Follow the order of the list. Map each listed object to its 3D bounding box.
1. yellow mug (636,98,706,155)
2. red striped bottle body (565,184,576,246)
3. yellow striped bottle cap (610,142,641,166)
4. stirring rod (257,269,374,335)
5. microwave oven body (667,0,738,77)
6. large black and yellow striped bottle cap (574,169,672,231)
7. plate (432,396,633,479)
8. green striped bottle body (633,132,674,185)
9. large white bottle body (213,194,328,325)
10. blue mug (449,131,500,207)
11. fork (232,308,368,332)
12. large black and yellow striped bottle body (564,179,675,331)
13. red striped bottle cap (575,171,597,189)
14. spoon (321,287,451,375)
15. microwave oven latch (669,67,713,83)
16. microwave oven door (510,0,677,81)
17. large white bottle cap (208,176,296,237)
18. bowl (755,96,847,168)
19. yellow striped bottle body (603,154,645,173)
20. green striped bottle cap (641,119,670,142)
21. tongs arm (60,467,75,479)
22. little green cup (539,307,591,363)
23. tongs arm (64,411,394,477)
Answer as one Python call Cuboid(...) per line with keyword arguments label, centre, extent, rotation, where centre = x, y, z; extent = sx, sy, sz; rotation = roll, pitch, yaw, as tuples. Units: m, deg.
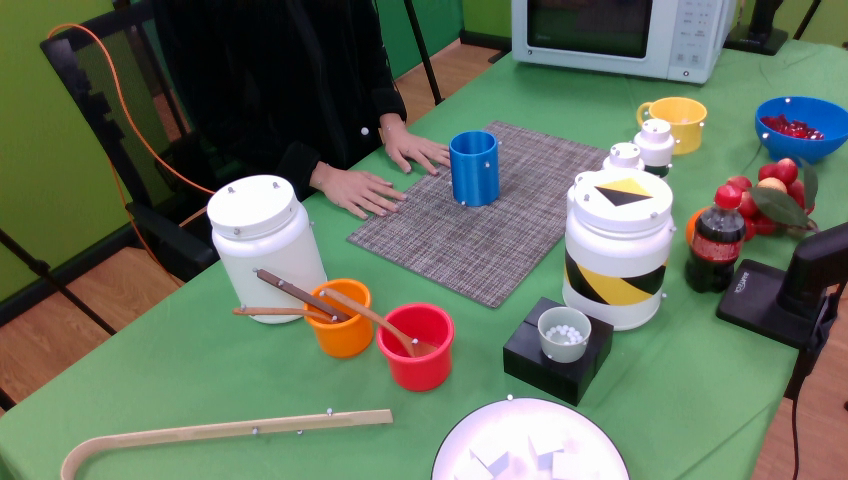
Cuboid(label="yellow mug", centre=(0.453, -0.217, 1.128), extent=(0.100, 0.064, 0.129), rotation=(-34, 46, -27))
Cuboid(label="red striped bottle body", centre=(0.247, -0.041, 0.910), extent=(0.063, 0.120, 0.062), rotation=(-3, 39, 3))
Cuboid(label="yellow striped bottle cap", centre=(0.308, -0.131, 0.925), extent=(0.044, 0.019, 0.044), rotation=(-4, 45, 4))
Cuboid(label="stirring rod", centre=(-0.143, 0.084, 0.808), extent=(0.177, 0.006, 0.014), rotation=(30, 43, -19))
Cuboid(label="microwave oven body", centre=(0.462, -0.552, 1.369), extent=(0.439, 0.261, 0.326), rotation=(15, 45, 26))
Cuboid(label="large black and yellow striped bottle cap", centre=(0.242, -0.051, 0.738), extent=(0.115, 0.019, 0.114), rotation=(-4, 37, 3))
Cuboid(label="plate", centre=(0.112, 0.261, 0.635), extent=(0.209, 0.038, 0.208), rotation=(-5, 40, 4))
Cuboid(label="green striped bottle body", centre=(0.376, -0.135, 1.001), extent=(0.063, 0.120, 0.063), rotation=(-5, 40, 5))
Cuboid(label="large white bottle body", centre=(-0.220, 0.016, 0.864), extent=(0.130, 0.185, 0.130), rotation=(-5, 40, 4))
Cuboid(label="blue mug", centre=(0.089, -0.132, 1.049), extent=(0.082, 0.106, 0.116), rotation=(0, 40, 9))
Cuboid(label="fork", centre=(-0.152, 0.101, 0.781), extent=(0.209, 0.018, 0.028), rotation=(18, 19, -46))
Cuboid(label="large black and yellow striped bottle body", centre=(0.253, 0.014, 0.793), extent=(0.131, 0.185, 0.130), rotation=(-5, 40, 4))
Cuboid(label="red striped bottle cap", centre=(0.242, -0.081, 0.876), extent=(0.044, 0.018, 0.044), rotation=(-5, 44, 5))
Cuboid(label="spoon", centre=(-0.046, 0.111, 0.757), extent=(0.194, 0.021, 0.041), rotation=(38, 46, -15))
Cuboid(label="microwave oven latch", centre=(0.556, -0.348, 1.262), extent=(0.078, 0.029, 0.030), rotation=(15, 46, 26))
Cuboid(label="microwave oven door", centre=(0.354, -0.478, 1.290), extent=(0.353, 0.245, 0.039), rotation=(15, 45, 25))
Cuboid(label="large white bottle cap", centre=(-0.229, -0.048, 0.809), extent=(0.115, 0.018, 0.114), rotation=(-4, 41, 4))
Cuboid(label="bowl", centre=(0.645, -0.177, 1.041), extent=(0.151, 0.077, 0.150), rotation=(-5, 40, 4))
Cuboid(label="yellow striped bottle body", centre=(0.314, -0.091, 0.957), extent=(0.063, 0.121, 0.062), rotation=(-4, 40, 4))
Cuboid(label="green striped bottle cap", centre=(0.371, -0.175, 0.968), extent=(0.044, 0.020, 0.044), rotation=(-6, 41, 5))
Cuboid(label="tongs arm", centre=(-0.239, 0.301, 0.648), extent=(0.386, 0.028, 0.028), rotation=(6, 49, 16))
Cuboid(label="little green cup", centre=(0.167, 0.114, 0.721), extent=(0.061, 0.039, 0.061), rotation=(-4, 43, 4))
Cuboid(label="tongs arm", centre=(-0.228, 0.241, 0.715), extent=(0.385, 0.026, 0.050), rotation=(-5, 43, 4))
